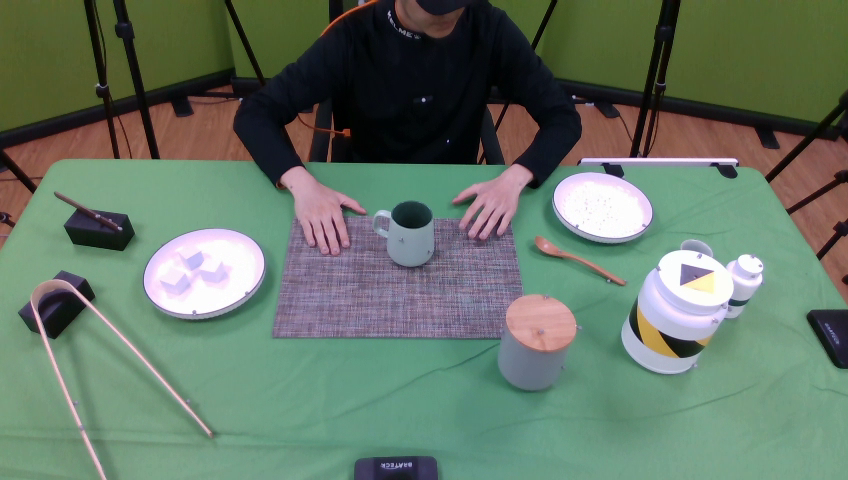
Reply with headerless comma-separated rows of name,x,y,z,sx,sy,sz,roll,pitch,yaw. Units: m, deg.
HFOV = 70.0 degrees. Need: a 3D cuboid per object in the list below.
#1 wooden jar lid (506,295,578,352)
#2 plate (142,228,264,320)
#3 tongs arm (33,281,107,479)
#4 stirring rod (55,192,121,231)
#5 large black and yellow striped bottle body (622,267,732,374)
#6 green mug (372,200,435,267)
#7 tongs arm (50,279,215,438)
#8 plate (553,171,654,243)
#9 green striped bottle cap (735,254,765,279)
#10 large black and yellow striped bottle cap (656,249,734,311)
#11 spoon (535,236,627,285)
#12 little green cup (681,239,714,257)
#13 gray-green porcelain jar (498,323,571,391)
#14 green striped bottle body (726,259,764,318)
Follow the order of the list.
wooden jar lid,0.179,0.129,0.926,0.108,0.021,0.107,2,43,-2
plate,-0.394,0.064,1.095,0.208,0.039,0.206,2,46,-2
tongs arm,-0.517,0.214,0.910,0.051,0.026,0.383,-28,63,-27
stirring rod,-0.632,-0.055,1.139,0.175,0.014,0.006,24,50,19
large black and yellow striped bottle body,0.415,0.119,0.997,0.131,0.185,0.130,2,46,-2
green mug,-0.040,-0.016,1.146,0.125,0.105,0.092,17,48,13
tongs arm,-0.459,0.178,0.950,0.386,0.028,0.028,37,60,17
plate,0.373,-0.066,1.275,0.209,0.038,0.208,2,46,-2
green striped bottle cap,0.566,0.046,1.051,0.044,0.020,0.044,0,45,0
large black and yellow striped bottle cap,0.419,0.061,0.938,0.115,0.019,0.114,2,47,-2
spoon,0.303,0.040,1.178,0.193,0.022,0.041,25,30,20
little green cup,0.530,0.033,1.190,0.061,0.039,0.061,2,47,-2
gray-green porcelain jar,0.176,0.172,0.971,0.106,0.127,0.105,2,46,-2
green striped bottle body,0.563,0.081,1.089,0.063,0.120,0.063,2,46,-2
